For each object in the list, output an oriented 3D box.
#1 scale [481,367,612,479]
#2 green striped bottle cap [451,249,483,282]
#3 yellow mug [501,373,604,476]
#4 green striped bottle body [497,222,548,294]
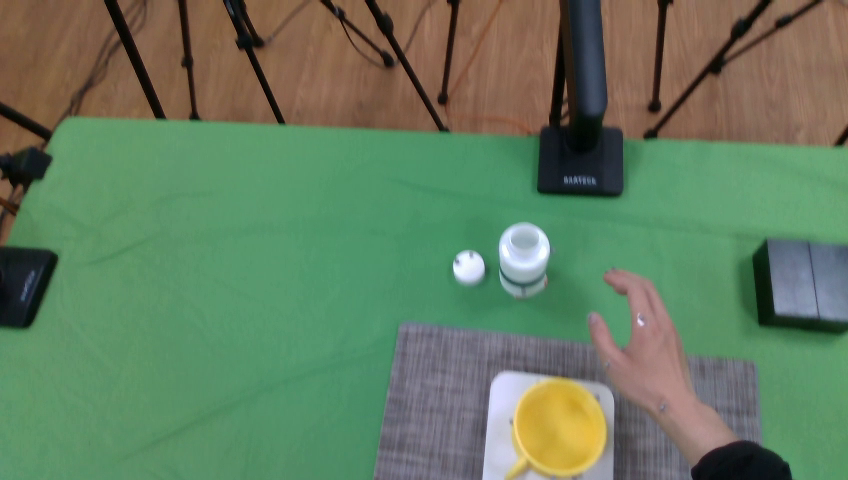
[{"bbox_3d":[0.144,0.255,0.711,0.148,0.032,0.199,4,67,9],"label":"scale"},{"bbox_3d":[0.059,0.035,0.837,0.044,0.020,0.044,-2,71,6],"label":"green striped bottle cap"},{"bbox_3d":[0.135,0.216,0.678,0.131,0.064,0.099,-41,68,-11],"label":"yellow mug"},{"bbox_3d":[0.125,0.020,0.777,0.063,0.120,0.062,-3,64,6],"label":"green striped bottle body"}]
